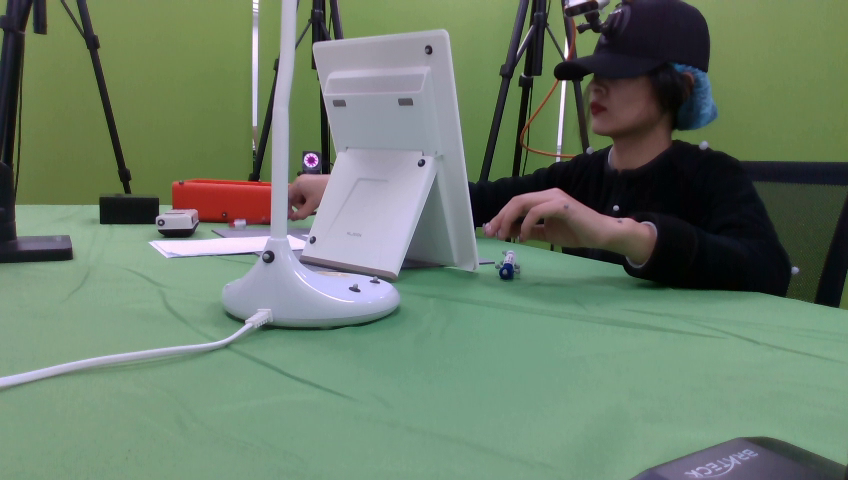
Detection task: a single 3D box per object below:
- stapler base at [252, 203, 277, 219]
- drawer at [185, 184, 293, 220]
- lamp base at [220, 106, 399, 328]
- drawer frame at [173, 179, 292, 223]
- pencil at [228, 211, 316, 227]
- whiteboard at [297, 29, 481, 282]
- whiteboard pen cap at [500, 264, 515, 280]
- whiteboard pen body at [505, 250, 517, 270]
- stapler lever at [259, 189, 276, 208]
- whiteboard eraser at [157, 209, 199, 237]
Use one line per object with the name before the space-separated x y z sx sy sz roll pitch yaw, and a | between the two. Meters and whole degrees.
stapler base | -0.341 -0.065 1.300 0.041 0.024 0.130 15 5 -10
drawer | -0.396 -0.085 1.301 0.212 0.073 0.194 1 8 -7
lamp base | -0.101 -0.023 0.531 0.160 0.180 0.179 4 10 10
drawer frame | -0.400 -0.086 1.299 0.214 0.082 0.201 1 8 -8
pencil | -0.268 -0.042 1.135 0.195 0.012 0.012 -10 13 -31
whiteboard | -0.076 -0.082 0.741 0.216 0.305 0.144 9 29 37
whiteboard pen cap | 0.105 0.038 0.757 0.018 0.018 0.033 4 9 11
whiteboard pen body | 0.117 0.032 0.815 0.017 0.017 0.141 4 9 10
stapler lever | -0.335 -0.090 1.300 0.027 0.040 0.118 15 4 -10
whiteboard eraser | -0.411 -0.029 1.016 0.056 0.042 0.112 2 7 -16
